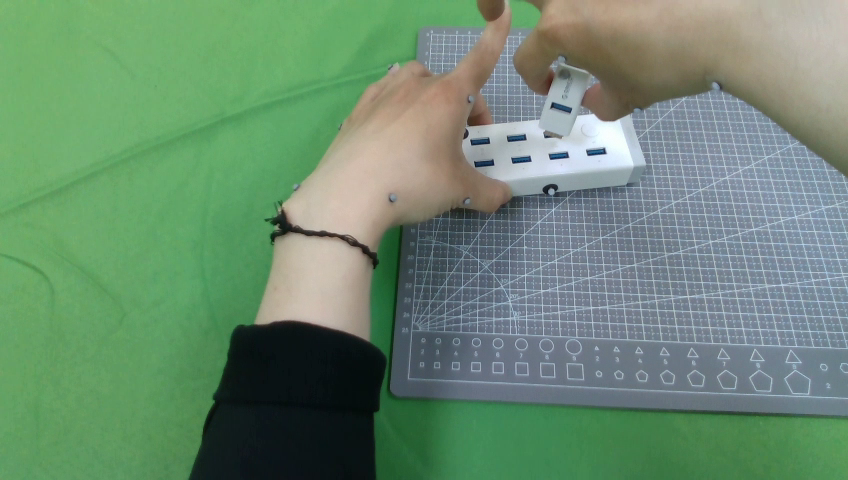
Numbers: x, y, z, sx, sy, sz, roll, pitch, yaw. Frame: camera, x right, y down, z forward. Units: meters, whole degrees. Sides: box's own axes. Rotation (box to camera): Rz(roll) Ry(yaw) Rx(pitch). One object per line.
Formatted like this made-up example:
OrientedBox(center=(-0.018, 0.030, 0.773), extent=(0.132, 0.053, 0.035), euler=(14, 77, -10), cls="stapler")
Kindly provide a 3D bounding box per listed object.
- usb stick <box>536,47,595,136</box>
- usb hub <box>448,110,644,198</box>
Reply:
OrientedBox(center=(0.085, -0.086, 0.375), extent=(0.021, 0.059, 0.027), euler=(19, 48, 7), cls="usb stick")
OrientedBox(center=(0.081, -0.060, 0.414), extent=(0.125, 0.025, 0.049), euler=(-5, 63, -2), cls="usb hub")
